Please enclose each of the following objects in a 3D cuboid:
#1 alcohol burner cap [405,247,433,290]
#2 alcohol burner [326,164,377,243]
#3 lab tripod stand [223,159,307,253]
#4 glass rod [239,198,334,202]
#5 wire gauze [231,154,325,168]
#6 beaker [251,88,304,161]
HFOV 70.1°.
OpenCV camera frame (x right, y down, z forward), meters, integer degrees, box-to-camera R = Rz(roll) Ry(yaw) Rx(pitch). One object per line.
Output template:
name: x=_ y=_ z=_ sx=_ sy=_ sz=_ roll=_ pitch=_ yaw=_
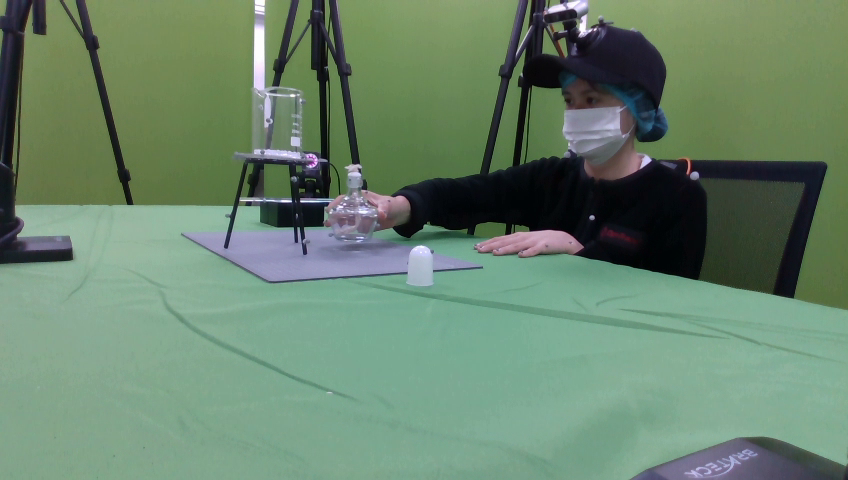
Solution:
alcohol burner cap: x=-0.005 y=0.031 z=0.698 sx=0.034 sy=0.048 sz=0.034 roll=3 pitch=8 yaw=0
alcohol burner: x=-0.110 y=-0.055 z=0.914 sx=0.078 sy=0.119 sz=0.078 roll=2 pitch=10 yaw=0
lab tripod stand: x=-0.220 y=-0.053 z=0.896 sx=0.148 sy=0.131 sz=0.148 roll=1 pitch=6 yaw=0
glass rod: x=-0.277 y=-0.081 z=1.232 sx=0.201 sy=0.008 sz=0.008 roll=-1 pitch=8 yaw=-30
wire gauze: x=-0.215 y=-0.117 z=0.882 sx=0.125 sy=0.011 sz=0.121 roll=3 pitch=7 yaw=-19
beaker: x=-0.214 y=-0.165 z=0.874 sx=0.074 sy=0.100 sz=0.084 roll=4 pitch=6 yaw=15
